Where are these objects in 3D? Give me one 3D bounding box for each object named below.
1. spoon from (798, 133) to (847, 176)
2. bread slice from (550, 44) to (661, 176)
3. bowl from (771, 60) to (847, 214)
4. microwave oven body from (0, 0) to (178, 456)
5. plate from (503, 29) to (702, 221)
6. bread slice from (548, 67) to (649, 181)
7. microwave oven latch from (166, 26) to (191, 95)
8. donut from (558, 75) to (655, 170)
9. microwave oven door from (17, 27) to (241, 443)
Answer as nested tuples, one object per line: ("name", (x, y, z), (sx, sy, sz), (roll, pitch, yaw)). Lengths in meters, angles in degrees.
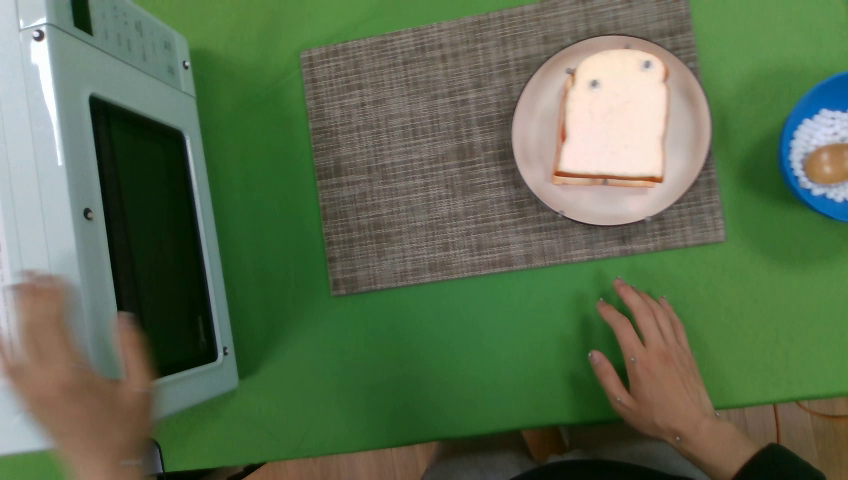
("spoon", (0.464, -0.103, 0.573), (0.193, 0.022, 0.041), (-16, 83, 30))
("bread slice", (0.184, -0.131, 0.608), (0.104, 0.019, 0.131), (4, 88, 15))
("bowl", (0.421, -0.097, 0.611), (0.151, 0.077, 0.151), (0, 88, 9))
("microwave oven body", (-0.434, -0.016, 0.650), (0.326, 0.261, 0.441), (-11, 88, 8))
("plate", (0.191, -0.123, 0.665), (0.207, 0.039, 0.207), (0, 89, 9))
("bread slice", (0.190, -0.130, 0.664), (0.107, 0.018, 0.134), (0, 88, 8))
("microwave oven latch", (-0.305, -0.214, 0.731), (0.030, 0.029, 0.079), (-11, 88, 8))
("donut", (0.190, -0.122, 0.634), (0.099, 0.048, 0.099), (0, 92, 5))
("microwave oven door", (-0.286, -0.002, 0.621), (0.039, 0.244, 0.355), (-11, 87, 9))
